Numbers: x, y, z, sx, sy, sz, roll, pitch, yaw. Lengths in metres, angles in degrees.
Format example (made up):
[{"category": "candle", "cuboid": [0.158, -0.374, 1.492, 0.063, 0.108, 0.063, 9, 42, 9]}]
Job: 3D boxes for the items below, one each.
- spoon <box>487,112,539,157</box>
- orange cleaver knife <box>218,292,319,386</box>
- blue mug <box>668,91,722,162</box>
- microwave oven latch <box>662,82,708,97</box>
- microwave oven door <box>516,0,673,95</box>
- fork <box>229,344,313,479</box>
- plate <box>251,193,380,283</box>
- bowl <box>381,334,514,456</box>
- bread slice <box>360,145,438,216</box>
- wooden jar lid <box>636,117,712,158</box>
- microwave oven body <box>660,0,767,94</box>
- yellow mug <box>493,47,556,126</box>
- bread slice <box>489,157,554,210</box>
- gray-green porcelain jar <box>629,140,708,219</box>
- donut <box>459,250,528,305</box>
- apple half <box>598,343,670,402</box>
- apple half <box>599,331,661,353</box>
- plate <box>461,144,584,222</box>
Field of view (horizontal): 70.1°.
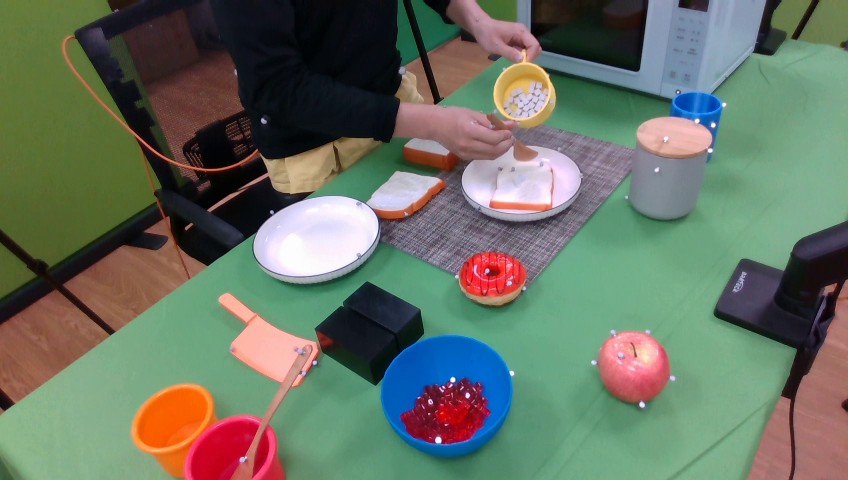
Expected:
[{"category": "spoon", "cuboid": [0.136, -0.163, 0.945, 0.041, 0.195, 0.021, -10, 72, 27]}, {"category": "orange cleaver knife", "cuboid": [-0.235, 0.136, 0.850, 0.209, 0.012, 0.077, 25, 57, 30]}, {"category": "blue mug", "cuboid": [0.474, -0.207, 1.078, 0.082, 0.106, 0.116, 4, 42, 13]}, {"category": "microwave oven latch", "cuboid": [0.518, -0.298, 1.202, 0.078, 0.029, 0.030, 28, 53, 35]}, {"category": "microwave oven door", "cuboid": [0.344, -0.458, 1.257, 0.353, 0.245, 0.039, 26, 52, 33]}, {"category": "fork", "cuboid": [-0.173, 0.205, 0.662, 0.028, 0.019, 0.207, 29, 94, 36]}, {"category": "plate", "cuboid": [-0.173, -0.001, 0.985, 0.209, 0.038, 0.208, -4, 41, 4]}, {"category": "bowl", "cuboid": [0.029, 0.192, 0.701, 0.151, 0.077, 0.150, -4, 40, 4]}, {"category": "bread slice", "cuboid": [-0.052, -0.103, 1.046, 0.106, 0.018, 0.134, 19, 67, 23]}, {"category": "wooden jar lid", "cuboid": [0.377, -0.151, 0.917, 0.108, 0.021, 0.108, -2, 41, 3]}, {"category": "microwave oven body", "cuboid": [0.473, -0.516, 1.313, 0.438, 0.261, 0.327, 26, 51, 34]}, {"category": "yellow mug", "cuboid": [0.177, -0.272, 1.061, 0.099, 0.130, 0.064, -1, -1, 18]}, {"category": "bread slice", "cuboid": [0.173, -0.099, 1.049, 0.104, 0.019, 0.131, 5, 45, 12]}, {"category": "gray-green porcelain jar", "cuboid": [0.383, -0.104, 0.958, 0.106, 0.127, 0.105, -4, 41, 4]}, {"category": "donut", "cuboid": [0.100, 0.053, 0.873, 0.099, 0.048, 0.098, -5, 40, 4]}, {"category": "apple half", "cuboid": [0.247, 0.161, 0.710, 0.081, 0.075, 0.053, 2, 46, 5]}, {"category": "apple half", "cuboid": [0.249, 0.134, 0.738, 0.081, 0.081, 0.032, -1, 46, 7]}, {"category": "plate", "cuboid": [0.168, -0.095, 1.040, 0.207, 0.039, 0.206, -4, 40, 4]}]
